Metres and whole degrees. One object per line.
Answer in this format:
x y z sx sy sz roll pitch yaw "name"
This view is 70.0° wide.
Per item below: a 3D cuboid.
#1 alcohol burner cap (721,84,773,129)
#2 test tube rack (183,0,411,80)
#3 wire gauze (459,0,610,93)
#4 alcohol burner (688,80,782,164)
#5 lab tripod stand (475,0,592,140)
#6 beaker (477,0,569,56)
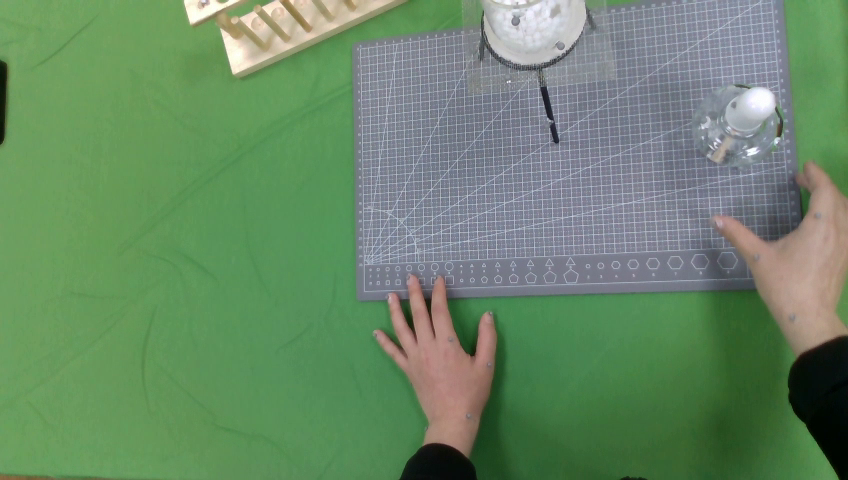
0.272 -0.114 0.507 0.034 0.048 0.034 0 88 11 "alcohol burner cap"
-0.139 -0.272 0.685 0.242 0.085 0.066 -21 79 12 "test tube rack"
0.092 -0.190 0.521 0.125 0.011 0.121 -4 87 12 "wire gauze"
0.282 -0.110 0.542 0.078 0.119 0.077 -1 84 13 "alcohol burner"
0.109 -0.182 0.584 0.148 0.132 0.148 -1 85 13 "lab tripod stand"
0.075 -0.195 0.475 0.083 0.101 0.074 10 88 16 "beaker"
